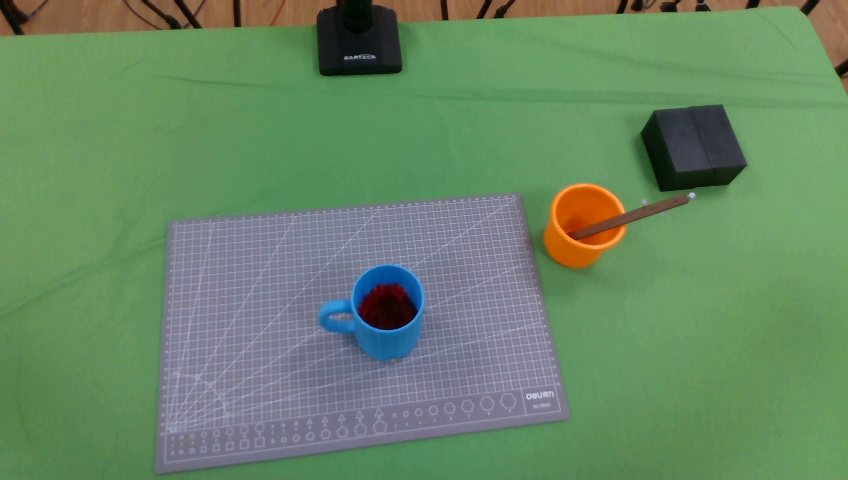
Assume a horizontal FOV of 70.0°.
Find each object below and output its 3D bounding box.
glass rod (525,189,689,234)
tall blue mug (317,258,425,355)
[{"bbox_3d":[0.212,-0.032,0.725,0.199,0.008,0.008,-15,59,31],"label":"glass rod"},{"bbox_3d":[-0.054,0.082,0.663,0.107,0.108,0.077,-28,70,-16],"label":"tall blue mug"}]
